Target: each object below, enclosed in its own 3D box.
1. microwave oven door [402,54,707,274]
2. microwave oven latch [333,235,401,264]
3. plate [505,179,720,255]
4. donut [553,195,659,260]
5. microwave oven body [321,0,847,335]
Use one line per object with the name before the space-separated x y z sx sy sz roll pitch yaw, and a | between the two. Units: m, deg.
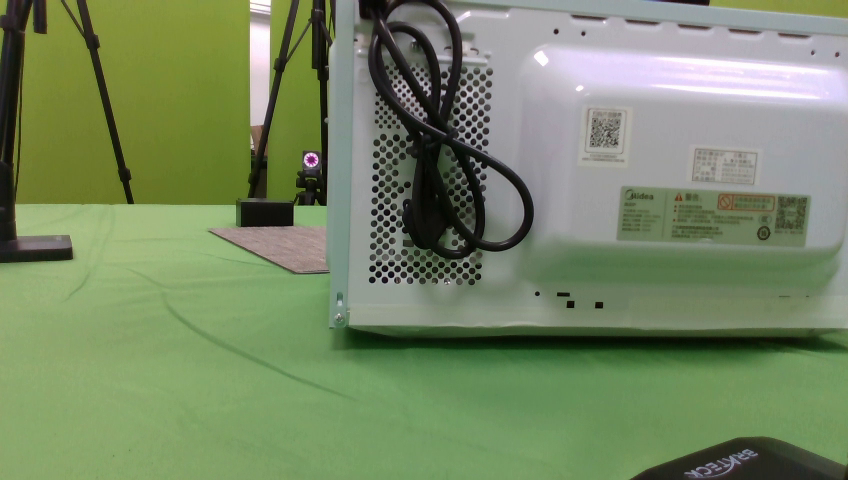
microwave oven door | 0.157 -0.085 0.717 0.357 0.243 0.039 1 8 -8
microwave oven latch | -0.066 0.011 0.700 0.079 0.029 0.030 2 6 -8
plate | 0.184 -0.025 0.615 0.209 0.038 0.209 5 16 -1
donut | 0.172 -0.014 0.574 0.099 0.048 0.099 -13 12 3
microwave oven body | 0.133 -0.062 0.568 0.443 0.260 0.325 2 6 -8
